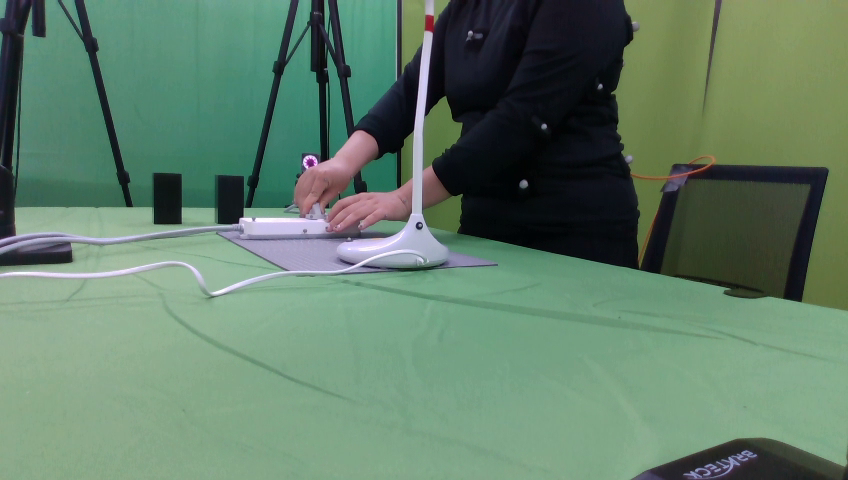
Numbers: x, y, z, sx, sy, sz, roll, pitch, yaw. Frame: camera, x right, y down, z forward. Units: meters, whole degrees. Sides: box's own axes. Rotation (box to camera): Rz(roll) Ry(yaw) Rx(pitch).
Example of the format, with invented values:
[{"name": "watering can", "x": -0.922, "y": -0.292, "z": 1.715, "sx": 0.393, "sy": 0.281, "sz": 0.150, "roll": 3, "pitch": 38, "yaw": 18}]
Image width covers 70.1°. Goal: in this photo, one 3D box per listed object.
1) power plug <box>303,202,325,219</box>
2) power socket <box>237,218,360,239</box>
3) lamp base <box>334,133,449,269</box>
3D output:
[{"name": "power plug", "x": -0.204, "y": -0.045, "z": 1.120, "sx": 0.035, "sy": 0.052, "sz": 0.072, "roll": 0, "pitch": 3, "yaw": -15}, {"name": "power socket", "x": -0.220, "y": -0.023, "z": 1.080, "sx": 0.228, "sy": 0.032, "sz": 0.072, "roll": -2, "pitch": 8, "yaw": -32}, {"name": "lamp base", "x": -0.034, "y": -0.057, "z": 0.830, "sx": 0.161, "sy": 0.180, "sz": 0.178, "roll": -3, "pitch": 12, "yaw": -36}]
